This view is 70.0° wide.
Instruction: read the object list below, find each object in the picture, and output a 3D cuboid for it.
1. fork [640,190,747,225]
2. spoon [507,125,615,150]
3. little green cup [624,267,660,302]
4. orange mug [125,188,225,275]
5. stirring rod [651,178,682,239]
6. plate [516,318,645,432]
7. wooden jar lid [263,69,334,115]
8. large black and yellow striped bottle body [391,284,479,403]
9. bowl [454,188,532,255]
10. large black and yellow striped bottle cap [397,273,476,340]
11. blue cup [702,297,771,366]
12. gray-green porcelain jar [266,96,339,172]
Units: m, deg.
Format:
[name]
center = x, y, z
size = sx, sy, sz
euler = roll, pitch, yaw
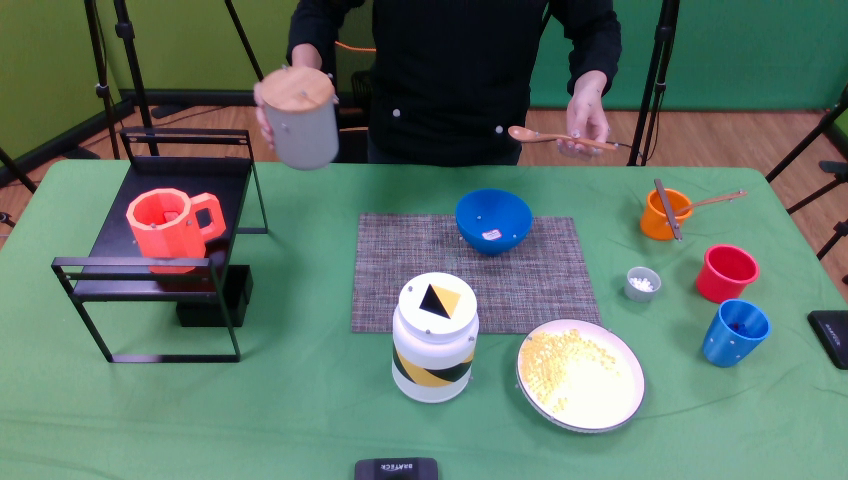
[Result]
[fork]
center = 0.533, -0.064, 1.211
size = 0.207, 0.019, 0.028
euler = -22, 28, 38
[spoon]
center = 0.222, -0.168, 0.997
size = 0.193, 0.022, 0.041
euler = 16, 36, 39
[little green cup]
center = 0.406, 0.084, 1.135
size = 0.061, 0.039, 0.061
euler = 3, 45, -3
[orange mug]
center = -0.357, -0.020, 0.884
size = 0.126, 0.101, 0.083
euler = -29, 54, -23
[stirring rod]
center = 0.480, -0.065, 1.204
size = 0.014, 0.006, 0.175
euler = 3, 46, -4
[plate]
center = 0.253, 0.221, 0.992
size = 0.209, 0.038, 0.208
euler = 2, 46, -2
[wooden jar lid]
center = -0.192, -0.224, 0.934
size = 0.108, 0.021, 0.107
euler = 1, 50, -1
[large black and yellow striped bottle body]
center = 0.015, 0.153, 0.938
size = 0.131, 0.185, 0.130
euler = 2, 46, -2
[bowl]
center = 0.131, -0.025, 1.186
size = 0.151, 0.077, 0.150
euler = 2, 46, -2
[large black and yellow striped bottle cap]
center = 0.018, 0.094, 0.878
size = 0.115, 0.019, 0.114
euler = 3, 46, -3
[blue cup]
center = 0.519, 0.162, 1.025
size = 0.093, 0.101, 0.092
euler = 3, 45, -3
[gray-green porcelain jar]
center = -0.193, -0.183, 0.981
size = 0.106, 0.127, 0.105
euler = 1, 49, -1
